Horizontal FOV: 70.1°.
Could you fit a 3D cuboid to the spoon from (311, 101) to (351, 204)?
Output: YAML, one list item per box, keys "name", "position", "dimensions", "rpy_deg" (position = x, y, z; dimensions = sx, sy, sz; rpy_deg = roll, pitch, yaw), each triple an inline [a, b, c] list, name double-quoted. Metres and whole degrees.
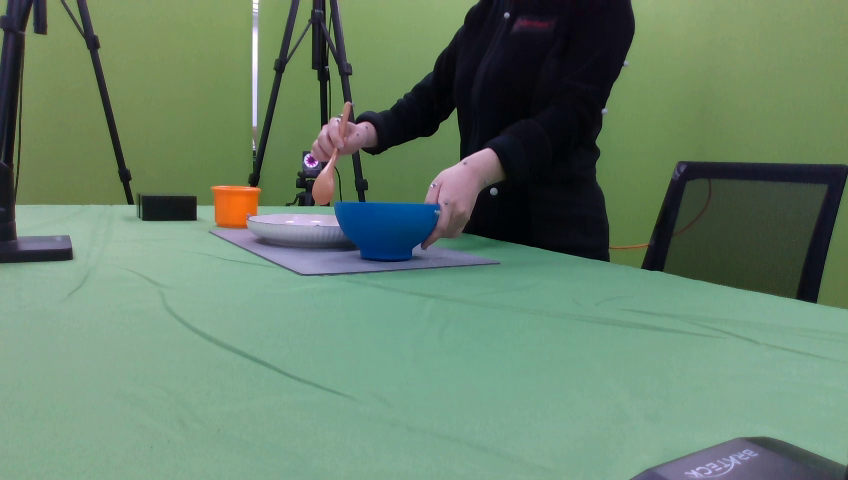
- name: "spoon"
  position: [-0.153, -0.151, 1.026]
  dimensions: [0.041, 0.193, 0.022]
  rpy_deg: [4, -23, 25]

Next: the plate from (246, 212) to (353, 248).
- name: "plate"
  position: [-0.185, -0.017, 0.994]
  dimensions: [0.209, 0.038, 0.209]
  rpy_deg: [3, 8, 0]

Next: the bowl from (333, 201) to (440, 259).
- name: "bowl"
  position: [-0.053, -0.015, 0.849]
  dimensions: [0.151, 0.077, 0.151]
  rpy_deg: [2, 4, 0]
